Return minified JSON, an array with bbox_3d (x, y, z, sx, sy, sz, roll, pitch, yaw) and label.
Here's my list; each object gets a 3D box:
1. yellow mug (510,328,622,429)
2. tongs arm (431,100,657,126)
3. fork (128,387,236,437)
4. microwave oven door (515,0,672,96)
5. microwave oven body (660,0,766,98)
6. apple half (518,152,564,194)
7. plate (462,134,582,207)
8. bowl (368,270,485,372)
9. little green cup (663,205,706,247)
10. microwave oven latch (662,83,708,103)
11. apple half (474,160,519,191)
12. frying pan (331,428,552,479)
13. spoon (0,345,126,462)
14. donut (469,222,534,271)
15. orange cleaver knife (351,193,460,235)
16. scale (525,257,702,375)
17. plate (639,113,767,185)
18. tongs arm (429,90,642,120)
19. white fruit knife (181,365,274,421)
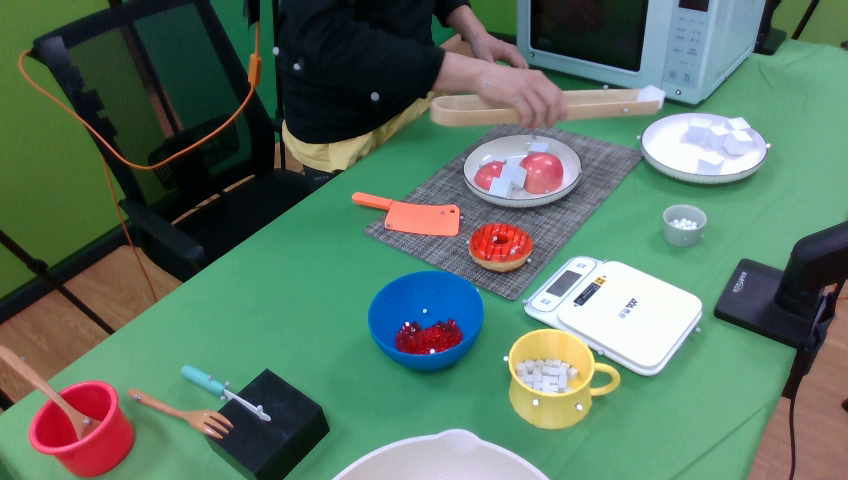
[{"bbox_3d":[0.168,0.164,0.721,0.130,0.064,0.099,0,40,8],"label":"yellow mug"},{"bbox_3d":[0.199,-0.203,0.952,0.389,0.028,0.028,-6,41,-17],"label":"tongs arm"},{"bbox_3d":[-0.305,0.207,0.744,0.206,0.019,0.028,3,41,36],"label":"fork"},{"bbox_3d":[0.343,-0.455,1.259,0.353,0.245,0.039,26,51,33],"label":"microwave oven door"},{"bbox_3d":[0.472,-0.513,1.317,0.438,0.261,0.327,26,51,34],"label":"microwave oven body"},{"bbox_3d":[0.204,-0.124,1.048,0.075,0.053,0.080,-6,41,-3],"label":"apple half"},{"bbox_3d":[0.173,-0.119,1.070,0.209,0.038,0.208,-4,40,4],"label":"plate"},{"bbox_3d":[0.007,0.118,0.791,0.151,0.077,0.150,-4,40,4],"label":"bowl"},{"bbox_3d":[0.396,-0.020,0.926,0.061,0.039,0.061,-4,40,4],"label":"little green cup"},{"bbox_3d":[0.518,-0.296,1.204,0.078,0.029,0.030,28,52,35],"label":"microwave oven latch"},{"bbox_3d":[0.131,-0.120,1.068,0.081,0.033,0.081,-4,36,3],"label":"apple half"},{"bbox_3d":[-0.089,0.305,0.564,0.487,0.103,0.306,10,41,7],"label":"frying pan"},{"bbox_3d":[-0.434,0.192,0.720,0.194,0.021,0.042,47,53,-6],"label":"spoon"},{"bbox_3d":[0.118,0.009,0.923,0.099,0.048,0.098,-3,38,3],"label":"donut"},{"bbox_3d":[-0.036,-0.044,1.029,0.210,0.012,0.077,10,48,18],"label":"orange cleaver knife"},{"bbox_3d":[0.254,0.091,0.821,0.199,0.032,0.149,28,51,35],"label":"scale"},{"bbox_3d":[0.489,-0.157,1.074,0.207,0.039,0.206,-4,40,4],"label":"plate"},{"bbox_3d":[0.191,-0.219,0.974,0.387,0.026,0.050,-4,37,-15],"label":"tongs arm"},{"bbox_3d":[-0.245,0.187,0.747,0.205,0.027,0.016,9,41,40],"label":"white fruit knife"}]
